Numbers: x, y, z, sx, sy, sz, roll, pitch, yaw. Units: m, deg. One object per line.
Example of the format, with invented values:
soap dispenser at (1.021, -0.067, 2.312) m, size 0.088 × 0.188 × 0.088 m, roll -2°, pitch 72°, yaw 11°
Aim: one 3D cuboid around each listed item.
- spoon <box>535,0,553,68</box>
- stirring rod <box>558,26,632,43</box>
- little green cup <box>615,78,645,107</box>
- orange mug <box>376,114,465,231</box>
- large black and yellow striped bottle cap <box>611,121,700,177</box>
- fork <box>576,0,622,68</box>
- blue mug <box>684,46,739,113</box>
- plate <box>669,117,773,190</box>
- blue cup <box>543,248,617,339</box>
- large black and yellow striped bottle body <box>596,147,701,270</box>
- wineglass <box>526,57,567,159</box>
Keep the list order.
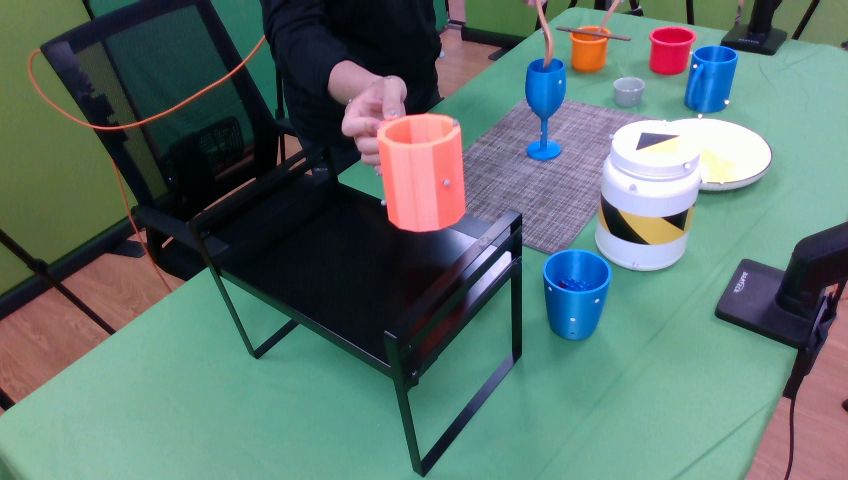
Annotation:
spoon at (0.194, -0.385, 1.002) m, size 0.021 × 0.194 × 0.041 m, roll -10°, pitch 8°, yaw 7°
stirring rod at (0.381, -0.462, 1.356) m, size 0.175 × 0.006 × 0.014 m, roll 23°, pitch 48°, yaw 29°
little green cup at (0.426, -0.306, 1.257) m, size 0.061 × 0.039 × 0.061 m, roll -4°, pitch 40°, yaw 4°
orange mug at (-0.012, -0.081, 0.650) m, size 0.084 × 0.101 × 0.125 m, roll -23°, pitch 41°, yaw -25°
large black and yellow striped bottle cap at (0.315, -0.126, 0.823) m, size 0.115 × 0.019 × 0.114 m, roll -4°, pitch 42°, yaw 4°
fork at (0.409, -0.484, 1.381) m, size 0.028 × 0.019 × 0.207 m, roll 37°, pitch 101°, yaw 46°
blue mug at (0.556, -0.310, 1.190) m, size 0.117 × 0.106 × 0.081 m, roll -32°, pitch 46°, yaw -25°
plate at (0.495, -0.148, 1.063) m, size 0.209 × 0.038 × 0.208 m, roll -5°, pitch 40°, yaw 4°
blue cup at (0.199, 0.076, 0.797) m, size 0.092 × 0.100 × 0.092 m, roll -4°, pitch 39°, yaw 4°
large black and yellow striped bottle body at (0.323, -0.062, 0.877) m, size 0.131 × 0.185 × 0.130 m, roll -5°, pitch 40°, yaw 4°
wineglass at (0.221, -0.237, 1.097) m, size 0.074 × 0.173 × 0.073 m, roll -5°, pitch 41°, yaw 4°
